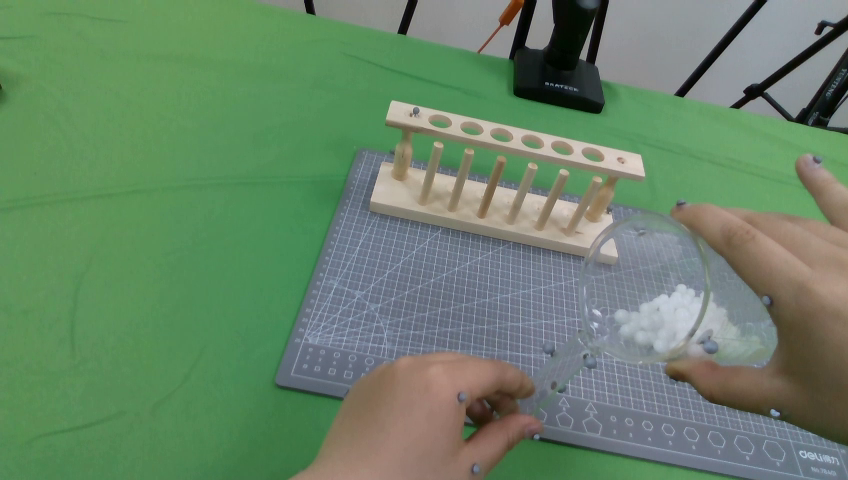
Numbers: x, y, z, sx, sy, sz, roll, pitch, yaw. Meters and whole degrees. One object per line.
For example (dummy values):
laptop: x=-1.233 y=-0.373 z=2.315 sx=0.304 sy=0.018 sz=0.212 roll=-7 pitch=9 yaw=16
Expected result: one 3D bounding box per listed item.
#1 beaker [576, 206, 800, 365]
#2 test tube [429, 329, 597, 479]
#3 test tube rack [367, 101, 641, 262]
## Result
beaker: x=0.141 y=0.031 z=0.323 sx=0.101 sy=0.084 sz=0.073 roll=10 pitch=38 yaw=-33
test tube: x=0.046 y=0.104 z=0.352 sx=0.017 sy=0.150 sz=0.017 roll=28 pitch=29 yaw=-17
test tube rack: x=0.074 y=-0.055 z=0.578 sx=0.242 sy=0.086 sz=0.066 roll=12 pitch=44 yaw=-3
